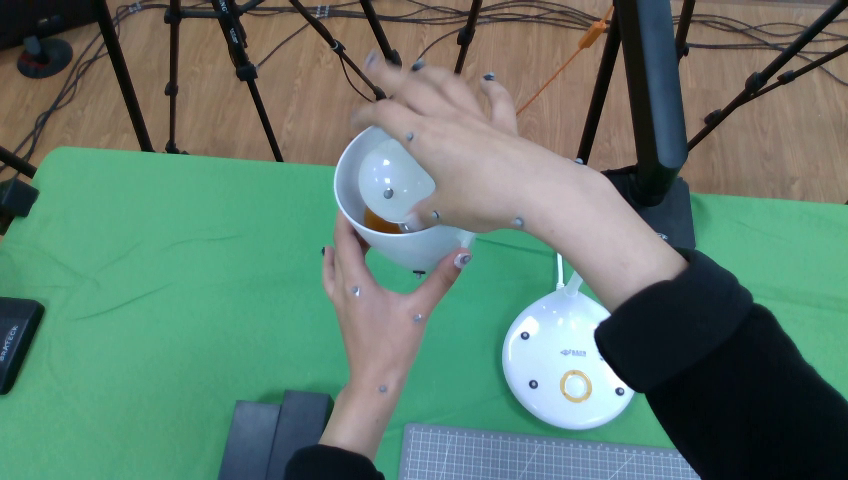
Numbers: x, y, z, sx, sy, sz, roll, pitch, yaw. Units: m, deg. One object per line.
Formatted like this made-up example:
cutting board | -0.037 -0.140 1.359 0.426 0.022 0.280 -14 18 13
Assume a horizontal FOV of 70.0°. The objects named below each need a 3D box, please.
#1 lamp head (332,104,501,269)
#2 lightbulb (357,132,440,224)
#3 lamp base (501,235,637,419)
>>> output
lamp head | 0.002 -0.030 0.485 0.112 0.124 0.111 -8 61 15
lightbulb | -0.012 -0.038 0.457 0.059 0.108 0.059 -6 66 13
lamp base | 0.169 0.086 0.664 0.161 0.182 0.177 -7 60 -3
